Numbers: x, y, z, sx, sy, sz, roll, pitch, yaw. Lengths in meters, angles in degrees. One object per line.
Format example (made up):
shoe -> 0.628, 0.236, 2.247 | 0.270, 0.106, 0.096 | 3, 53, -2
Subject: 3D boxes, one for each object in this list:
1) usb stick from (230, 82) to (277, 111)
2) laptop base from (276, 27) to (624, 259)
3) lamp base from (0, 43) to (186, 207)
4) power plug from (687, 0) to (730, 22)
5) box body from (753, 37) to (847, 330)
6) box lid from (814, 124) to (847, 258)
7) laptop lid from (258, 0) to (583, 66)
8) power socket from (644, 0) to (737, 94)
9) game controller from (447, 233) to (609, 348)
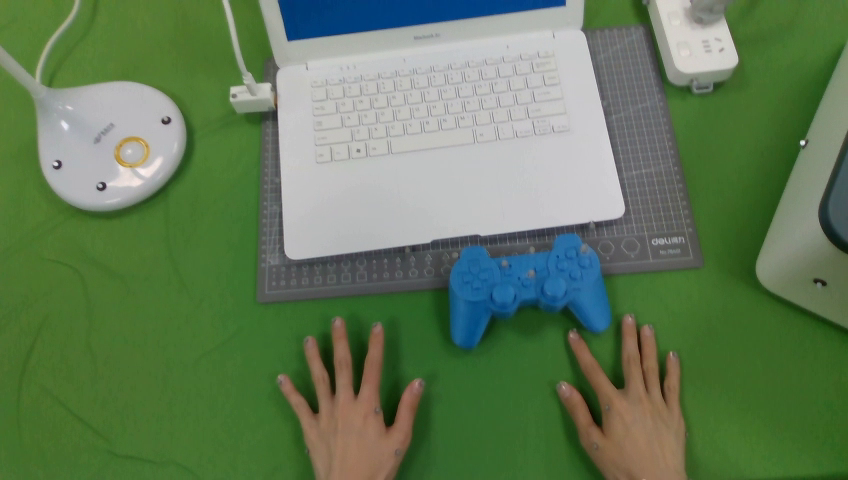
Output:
usb stick -> -0.183, -0.160, 0.674 | 0.059, 0.027, 0.021 | -3, 64, -2
laptop base -> 0.019, -0.109, 0.659 | 0.354, 0.023, 0.234 | -7, 74, 0
lamp base -> -0.361, -0.141, 0.604 | 0.178, 0.181, 0.160 | 21, 72, 13
power plug -> 0.327, -0.254, 0.663 | 0.072, 0.053, 0.035 | 5, 70, 3
box body -> 0.495, -0.072, 0.545 | 0.253, 0.161, 0.363 | 27, 74, 12
box lid -> 0.492, -0.099, 0.476 | 0.262, 0.015, 0.370 | 27, 75, 12
laptop lid -> -0.007, -0.309, 0.624 | 0.357, 0.244, 0.013 | -9, 39, 1
power socket -> 0.295, -0.273, 0.695 | 0.072, 0.033, 0.225 | -6, 70, 0
game controller -> 0.098, 0.046, 0.585 | 0.155, 0.052, 0.096 | -6, 67, 0
